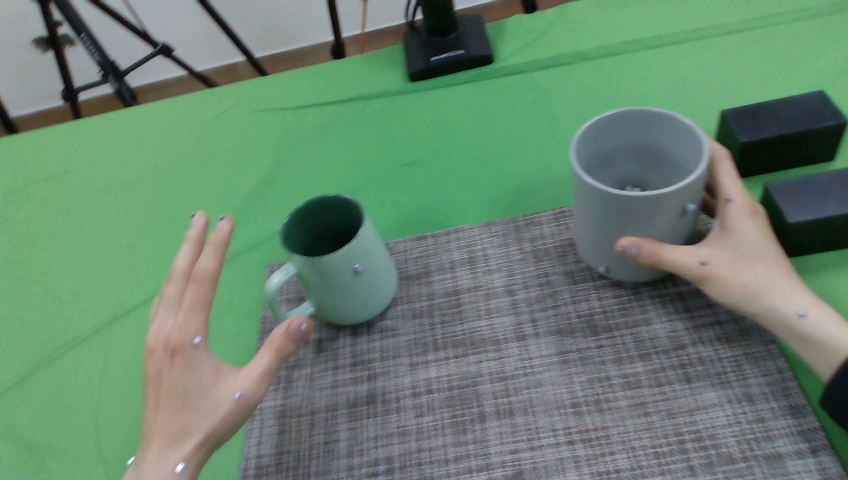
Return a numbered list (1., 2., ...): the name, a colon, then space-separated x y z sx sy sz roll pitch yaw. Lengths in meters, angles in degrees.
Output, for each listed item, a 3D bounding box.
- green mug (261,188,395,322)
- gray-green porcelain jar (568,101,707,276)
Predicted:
1. green mug: -0.093 0.026 0.560 0.125 0.106 0.091 -41 53 -19
2. gray-green porcelain jar: 0.181 -0.038 0.527 0.106 0.128 0.105 -8 49 9
